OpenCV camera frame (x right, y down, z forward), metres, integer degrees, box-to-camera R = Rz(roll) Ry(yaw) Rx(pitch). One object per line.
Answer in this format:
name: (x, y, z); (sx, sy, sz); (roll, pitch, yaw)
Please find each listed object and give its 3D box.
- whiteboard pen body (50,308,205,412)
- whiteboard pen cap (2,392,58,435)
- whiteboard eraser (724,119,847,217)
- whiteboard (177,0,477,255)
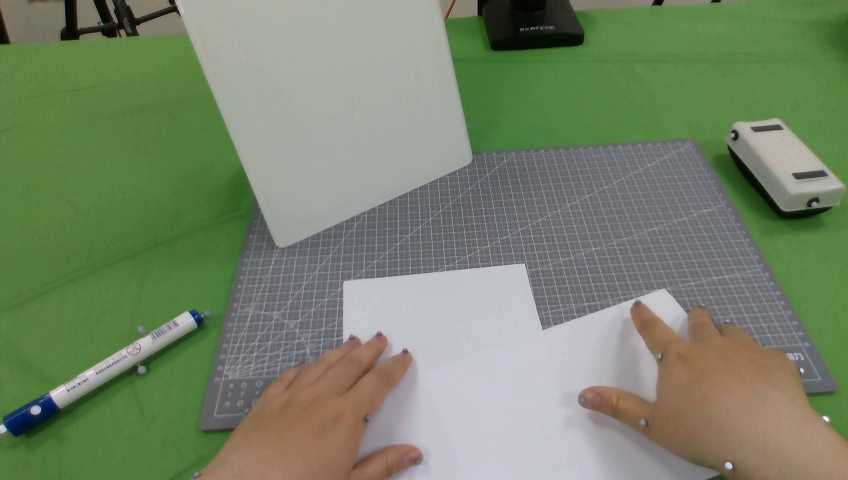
whiteboard pen body: (-0.230, 0.093, 0.452); (0.141, 0.017, 0.017); (-34, 53, -28)
whiteboard pen cap: (-0.274, 0.120, 0.424); (0.033, 0.018, 0.018); (-33, 52, -28)
whiteboard eraser: (0.334, -0.068, 0.567); (0.055, 0.042, 0.111); (-9, 46, -3)
whiteboard: (-0.104, -0.182, 0.559); (0.217, 0.308, 0.142); (-26, 29, -20)
